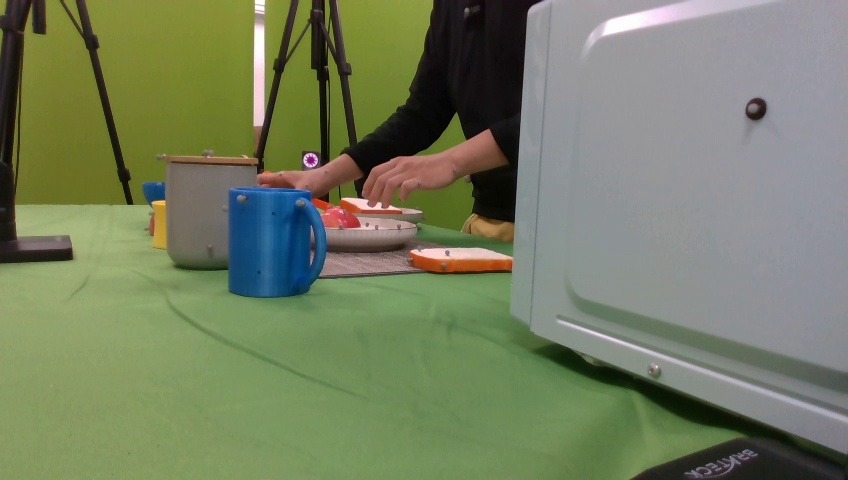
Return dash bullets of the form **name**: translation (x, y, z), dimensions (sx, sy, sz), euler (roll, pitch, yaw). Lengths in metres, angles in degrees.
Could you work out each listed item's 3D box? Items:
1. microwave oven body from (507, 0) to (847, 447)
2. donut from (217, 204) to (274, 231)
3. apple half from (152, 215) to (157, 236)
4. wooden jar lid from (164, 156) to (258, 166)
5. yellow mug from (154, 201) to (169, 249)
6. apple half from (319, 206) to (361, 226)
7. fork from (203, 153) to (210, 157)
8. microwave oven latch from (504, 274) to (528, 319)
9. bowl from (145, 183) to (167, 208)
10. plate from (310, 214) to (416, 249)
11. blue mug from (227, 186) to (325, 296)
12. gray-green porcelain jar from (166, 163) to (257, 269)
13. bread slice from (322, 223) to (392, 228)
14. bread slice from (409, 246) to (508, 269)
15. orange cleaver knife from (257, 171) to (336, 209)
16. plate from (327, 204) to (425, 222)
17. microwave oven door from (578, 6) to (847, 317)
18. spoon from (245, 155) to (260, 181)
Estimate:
- **microwave oven body**: translation (0.331, -0.042, 0.425), dimensions (0.444, 0.260, 0.324), euler (-2, 8, -31)
- **donut**: translation (-0.317, -0.038, 1.080), dimensions (0.099, 0.048, 0.099), euler (2, 7, 0)
- **apple half**: translation (-0.415, -0.034, 1.017), dimensions (0.081, 0.053, 0.074), euler (1, 10, -9)
- **wooden jar lid**: translation (-0.261, -0.093, 0.746), dimensions (0.108, 0.020, 0.108), euler (1, 9, 0)
- **yellow mug**: translation (-0.337, -0.022, 0.899), dimensions (0.130, 0.064, 0.100), euler (8, 9, 34)
- **apple half**: translation (-0.142, -0.041, 1.002), dimensions (0.081, 0.033, 0.081), euler (0, 7, 0)
- **fork**: translation (-0.480, -0.136, 1.411), dimensions (0.028, 0.018, 0.207), euler (1, -34, -1)
- **microwave oven latch**: translation (0.100, 0.041, 0.470), dimensions (0.079, 0.029, 0.030), euler (-1, 7, -27)
- **bowl**: translation (-0.459, -0.069, 1.175), dimensions (0.151, 0.077, 0.151), euler (3, 7, 0)
- **plate**: translation (-0.116, -0.014, 0.967), dimensions (0.208, 0.039, 0.207), euler (2, 8, 0)
- **blue mug**: translation (-0.147, 0.000, 0.618), dimensions (0.116, 0.106, 0.083), euler (7, 9, 32)
- **gray-green porcelain jar**: translation (-0.263, -0.031, 0.754), dimensions (0.106, 0.126, 0.106), euler (2, 7, 0)
- **bread slice**: translation (-0.116, -0.014, 0.974), dimensions (0.135, 0.018, 0.106), euler (-4, 9, -42)
- **bread slice**: translation (0.048, 0.022, 0.816), dimensions (0.132, 0.019, 0.104), euler (0, 7, -24)
- **orange cleaver knife**: translation (-0.283, -0.087, 1.343), dimensions (0.212, 0.077, 0.012), euler (24, -16, -41)
- **plate**: translation (-0.102, -0.053, 1.299), dimensions (0.209, 0.038, 0.209), euler (2, 7, 0)
- **microwave oven door**: translation (0.294, -0.067, 0.570), dimensions (0.358, 0.243, 0.039), euler (-3, 9, -31)
- **spoon**: translation (-0.421, -0.150, 1.540), dimensions (0.042, 0.021, 0.193), euler (-5, 55, -37)
